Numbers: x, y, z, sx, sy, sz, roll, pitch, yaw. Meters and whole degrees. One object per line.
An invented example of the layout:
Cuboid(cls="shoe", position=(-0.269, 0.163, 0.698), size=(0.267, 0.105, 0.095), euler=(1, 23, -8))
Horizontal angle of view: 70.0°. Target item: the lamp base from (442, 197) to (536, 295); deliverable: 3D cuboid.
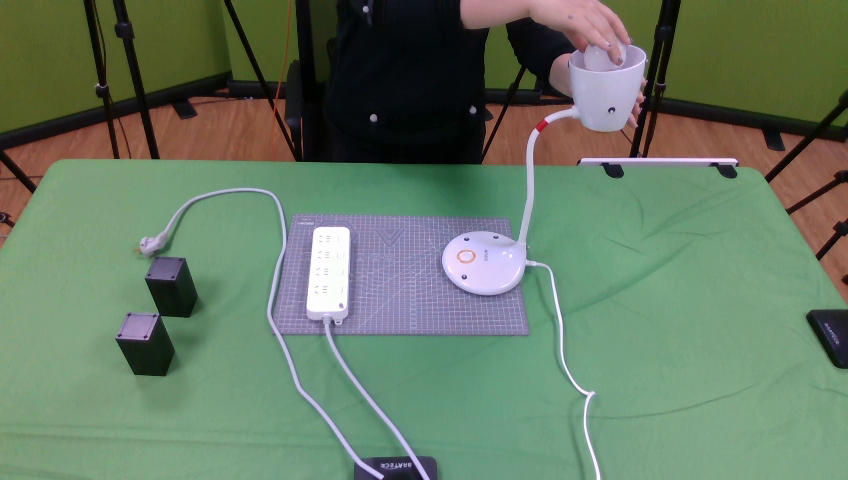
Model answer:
Cuboid(cls="lamp base", position=(0.130, -0.012, 1.105), size=(0.179, 0.181, 0.159), euler=(-1, 46, -9))

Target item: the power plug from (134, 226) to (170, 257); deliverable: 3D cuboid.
Cuboid(cls="power plug", position=(-0.515, 0.006, 1.153), size=(0.052, 0.035, 0.072), euler=(-6, 24, 6))

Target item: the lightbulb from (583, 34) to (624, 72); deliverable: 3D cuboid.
Cuboid(cls="lightbulb", position=(0.271, -0.255, 0.916), size=(0.059, 0.108, 0.059), euler=(-8, 33, 5))

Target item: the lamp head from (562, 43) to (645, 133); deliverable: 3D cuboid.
Cuboid(cls="lamp head", position=(0.272, -0.227, 0.932), size=(0.112, 0.123, 0.112), euler=(-2, 37, 1))

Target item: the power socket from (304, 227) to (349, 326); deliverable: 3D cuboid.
Cuboid(cls="power socket", position=(-0.177, 0.059, 1.115), size=(0.072, 0.033, 0.225), euler=(-1, 46, -4))
